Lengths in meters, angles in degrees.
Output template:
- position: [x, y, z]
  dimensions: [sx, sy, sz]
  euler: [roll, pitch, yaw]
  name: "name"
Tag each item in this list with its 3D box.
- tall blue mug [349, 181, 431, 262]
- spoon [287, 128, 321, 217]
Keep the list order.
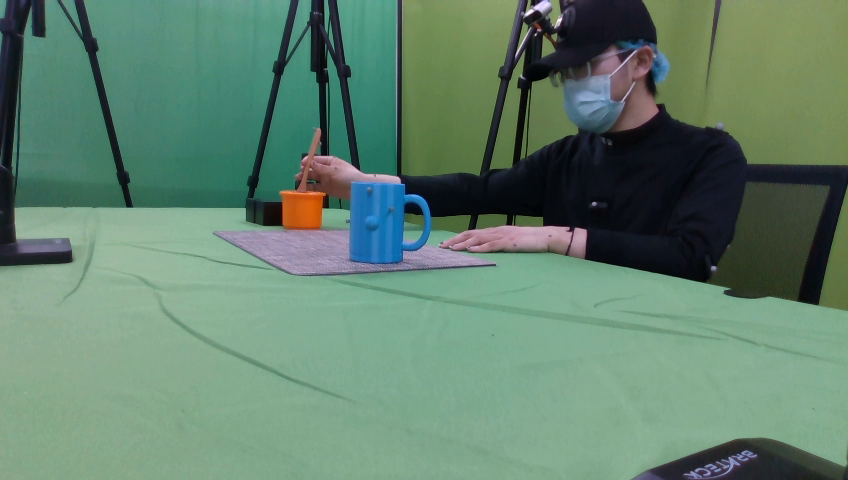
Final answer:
- position: [-0.051, -0.028, 0.849]
  dimensions: [0.108, 0.108, 0.077]
  euler: [-1, 7, -22]
  name: "tall blue mug"
- position: [-0.239, -0.139, 1.232]
  dimensions: [0.041, 0.193, 0.022]
  euler: [13, -6, 9]
  name: "spoon"
